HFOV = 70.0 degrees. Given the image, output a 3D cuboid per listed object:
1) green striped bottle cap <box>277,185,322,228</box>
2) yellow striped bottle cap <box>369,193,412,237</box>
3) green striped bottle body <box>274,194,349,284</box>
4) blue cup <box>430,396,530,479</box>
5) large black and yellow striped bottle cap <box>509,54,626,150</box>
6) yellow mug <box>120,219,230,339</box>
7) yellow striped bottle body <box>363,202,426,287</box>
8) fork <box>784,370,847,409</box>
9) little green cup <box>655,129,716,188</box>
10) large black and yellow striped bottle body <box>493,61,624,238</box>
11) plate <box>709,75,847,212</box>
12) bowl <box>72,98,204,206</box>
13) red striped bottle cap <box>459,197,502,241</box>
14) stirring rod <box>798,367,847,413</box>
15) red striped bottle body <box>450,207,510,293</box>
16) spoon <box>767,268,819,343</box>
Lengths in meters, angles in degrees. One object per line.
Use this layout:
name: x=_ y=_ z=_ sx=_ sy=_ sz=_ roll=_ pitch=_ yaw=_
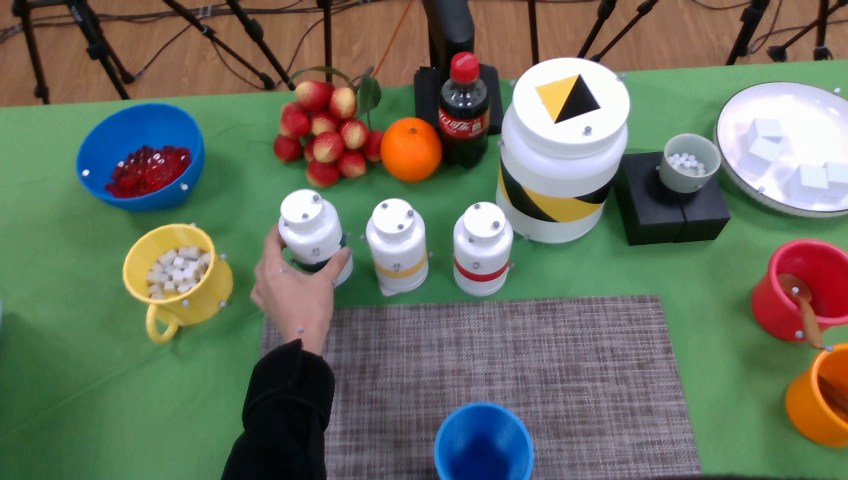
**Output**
green striped bottle cap: x=-0.127 y=-0.034 z=0.615 sx=0.044 sy=0.020 sz=0.044 roll=-3 pitch=54 yaw=5
yellow striped bottle cap: x=-0.035 y=-0.026 z=0.623 sx=0.044 sy=0.019 sz=0.044 roll=0 pitch=61 yaw=1
green striped bottle body: x=-0.122 y=-0.006 z=0.658 sx=0.063 sy=0.120 sz=0.062 roll=-2 pitch=57 yaw=4
blue cup: x=0.048 y=0.201 z=0.558 sx=0.092 sy=0.101 sz=0.092 roll=0 pitch=59 yaw=0
large black and yellow striped bottle cap: x=0.143 y=-0.140 z=0.606 sx=0.115 sy=0.019 sz=0.114 roll=-1 pitch=59 yaw=3
yellow mug: x=-0.283 y=0.048 z=0.681 sx=0.100 sy=0.064 sz=0.130 roll=7 pitch=62 yaw=4
yellow striped bottle body: x=-0.032 y=-0.001 z=0.668 sx=0.063 sy=0.121 sz=0.062 roll=-1 pitch=60 yaw=3
fork: x=0.428 y=0.160 z=0.542 sx=0.028 sy=0.019 sz=0.206 roll=-38 pitch=22 yaw=-17
little green cup: x=0.297 y=-0.092 z=0.695 sx=0.061 sy=0.039 sz=0.061 roll=0 pitch=59 yaw=1
large black and yellow striped bottle body: x=0.147 y=-0.100 z=0.680 sx=0.131 sy=0.185 sz=0.129 roll=-1 pitch=60 yaw=2
plate: x=0.463 y=-0.120 z=0.762 sx=0.209 sy=0.038 sz=0.207 roll=-1 pitch=61 yaw=2
bowl: x=-0.342 y=-0.095 z=0.758 sx=0.151 sy=0.077 sz=0.150 roll=-1 pitch=61 yaw=1
red striped bottle cap: x=0.058 y=-0.022 z=0.616 sx=0.044 sy=0.018 sz=0.044 roll=1 pitch=59 yaw=-1
stirring rod: x=0.398 y=0.160 z=0.551 sx=0.014 sy=0.006 sz=0.175 roll=-1 pitch=17 yaw=0
red striped bottle body: x=0.062 y=0.005 z=0.662 sx=0.063 sy=0.121 sz=0.062 roll=-3 pitch=59 yaw=5
spoon: x=0.371 y=0.061 z=0.604 sx=0.041 sy=0.194 sz=0.022 roll=27 pitch=110 yaw=17
